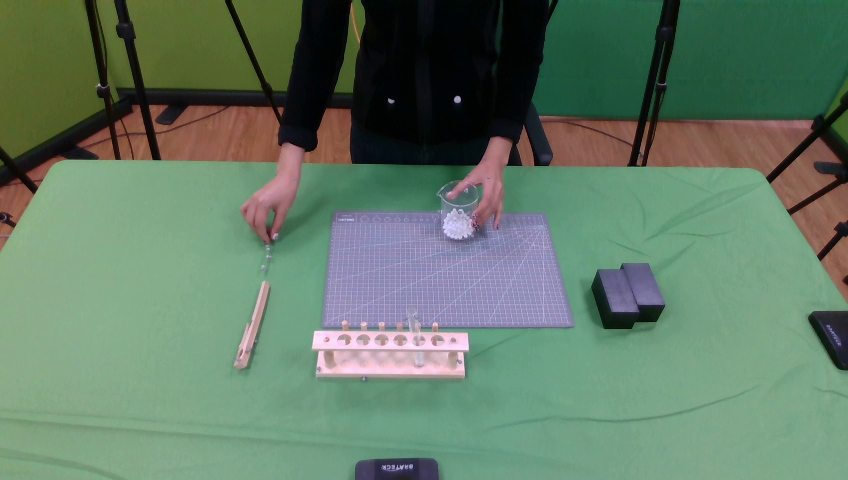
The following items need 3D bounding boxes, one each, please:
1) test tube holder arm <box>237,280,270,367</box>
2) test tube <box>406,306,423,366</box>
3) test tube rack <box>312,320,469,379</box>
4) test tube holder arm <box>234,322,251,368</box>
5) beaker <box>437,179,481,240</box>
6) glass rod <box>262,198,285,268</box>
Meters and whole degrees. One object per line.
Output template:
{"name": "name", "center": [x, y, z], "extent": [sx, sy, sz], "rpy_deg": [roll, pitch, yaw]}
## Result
{"name": "test tube holder arm", "center": [-0.291, 0.140, 1.042], "extent": [0.013, 0.015, 0.177], "rpy_deg": [-17, 41, 22]}
{"name": "test tube", "center": [-0.013, 0.152, 0.939], "extent": [0.017, 0.151, 0.017], "rpy_deg": [-3, 48, 3]}
{"name": "test tube rack", "center": [-0.054, 0.173, 0.984], "extent": [0.242, 0.085, 0.066], "rpy_deg": [1, 46, -3]}
{"name": "test tube holder arm", "center": [-0.299, 0.173, 1.013], "extent": [0.010, 0.015, 0.087], "rpy_deg": [-17, 41, 22]}
{"name": "beaker", "center": [0.066, -0.057, 1.184], "extent": [0.084, 0.101, 0.073], "rpy_deg": [5, 46, 5]}
{"name": "glass rod", "center": [-0.296, -0.018, 1.198], "extent": [0.008, 0.008, 0.198], "rpy_deg": [3, 44, 0]}
